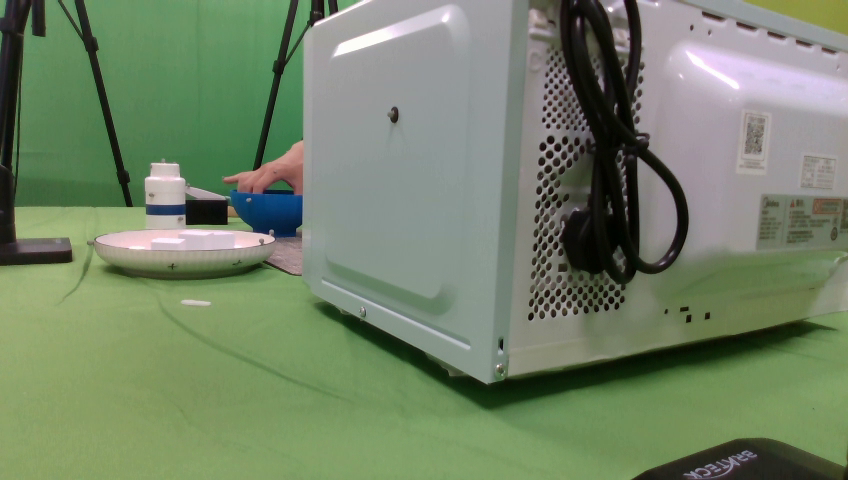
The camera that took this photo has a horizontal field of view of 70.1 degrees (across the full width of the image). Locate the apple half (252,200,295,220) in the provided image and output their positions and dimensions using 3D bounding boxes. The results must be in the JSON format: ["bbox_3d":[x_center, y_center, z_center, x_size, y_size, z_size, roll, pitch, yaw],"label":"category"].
[{"bbox_3d":[-0.265,-0.055,1.065,0.081,0.033,0.081,4,11,-1],"label":"apple half"}]

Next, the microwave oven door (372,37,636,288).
[{"bbox_3d":[0.110,-0.080,0.686,0.358,0.243,0.039,-2,9,-33],"label":"microwave oven door"}]

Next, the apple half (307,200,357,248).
[{"bbox_3d":[-0.135,-0.024,0.941,0.053,0.074,0.081,13,9,39],"label":"apple half"}]

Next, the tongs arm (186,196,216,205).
[{"bbox_3d":[-0.404,-0.081,1.479,0.385,0.026,0.050,3,8,-2],"label":"tongs arm"}]

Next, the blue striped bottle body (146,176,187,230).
[{"bbox_3d":[-0.430,-0.065,1.010,0.063,0.120,0.063,2,7,0],"label":"blue striped bottle body"}]

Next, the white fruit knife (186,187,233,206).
[{"bbox_3d":[-0.413,-0.081,1.270,0.208,0.027,0.016,18,13,-42],"label":"white fruit knife"}]

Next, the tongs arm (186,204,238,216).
[{"bbox_3d":[-0.396,-0.067,1.399,0.389,0.028,0.028,1,5,-15],"label":"tongs arm"}]

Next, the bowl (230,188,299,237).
[{"bbox_3d":[-0.264,-0.048,1.065,0.151,0.077,0.151,2,7,0],"label":"bowl"}]

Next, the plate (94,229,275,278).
[{"bbox_3d":[-0.291,0.016,0.750,0.208,0.039,0.207,2,7,0],"label":"plate"}]

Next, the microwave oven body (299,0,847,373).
[{"bbox_3d":[0.151,-0.055,0.542,0.444,0.260,0.324,-2,7,-33],"label":"microwave oven body"}]

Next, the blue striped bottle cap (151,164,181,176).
[{"bbox_3d":[-0.428,-0.116,1.002,0.044,0.020,0.044,1,6,0],"label":"blue striped bottle cap"}]

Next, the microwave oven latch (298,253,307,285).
[{"bbox_3d":[-0.081,0.027,0.582,0.079,0.029,0.030,-2,7,-33],"label":"microwave oven latch"}]
